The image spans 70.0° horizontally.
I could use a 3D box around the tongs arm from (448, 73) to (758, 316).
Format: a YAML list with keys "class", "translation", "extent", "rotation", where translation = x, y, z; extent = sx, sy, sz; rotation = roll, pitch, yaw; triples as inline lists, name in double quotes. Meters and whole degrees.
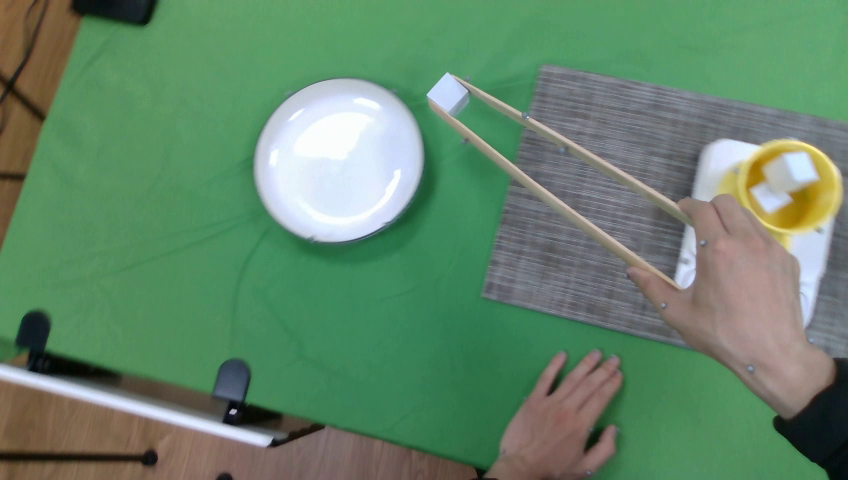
- class: "tongs arm"
  translation: [0.137, -0.063, 0.561]
  extent: [0.051, 0.027, 0.380]
  rotation: [-48, 55, -3]

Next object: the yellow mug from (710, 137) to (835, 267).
- class: "yellow mug"
  translation: [0.366, -0.037, 0.642]
  extent: [0.100, 0.064, 0.130]
  rotation: [3, 82, 5]

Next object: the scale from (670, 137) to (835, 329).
- class: "scale"
  translation: [0.370, -0.010, 0.685]
  extent: [0.148, 0.032, 0.200]
  rotation: [13, 83, 8]

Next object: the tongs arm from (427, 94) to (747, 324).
- class: "tongs arm"
  translation: [0.120, -0.046, 0.561]
  extent: [0.028, 0.028, 0.383]
  rotation: [-43, 55, -4]

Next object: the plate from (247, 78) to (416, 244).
- class: "plate"
  translation: [-0.111, -0.095, 0.746]
  extent: [0.207, 0.039, 0.207]
  rotation: [-1, 81, 5]
